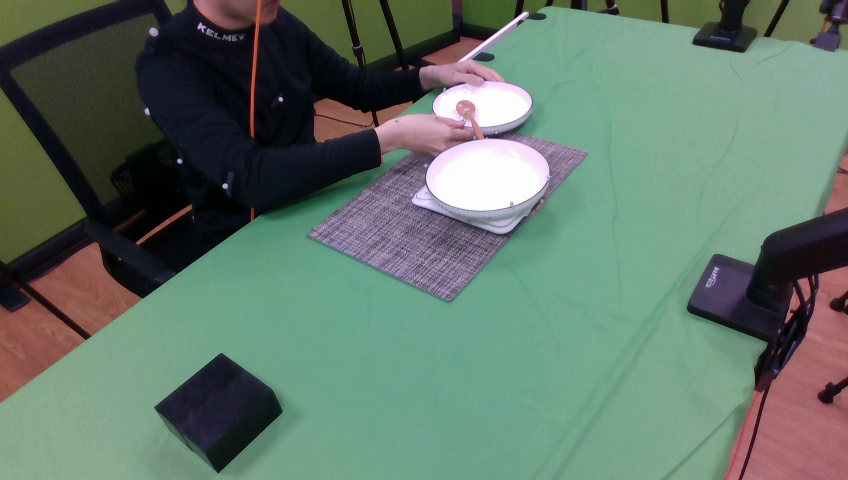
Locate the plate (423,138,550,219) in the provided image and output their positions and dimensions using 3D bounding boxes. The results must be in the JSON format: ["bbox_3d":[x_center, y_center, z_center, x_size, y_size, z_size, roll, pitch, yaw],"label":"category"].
[{"bbox_3d":[0.104,-0.099,1.005,0.207,0.039,0.206,-4,41,4],"label":"plate"}]

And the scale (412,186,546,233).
[{"bbox_3d":[0.093,-0.083,1.039,0.199,0.032,0.149,22,48,30],"label":"scale"}]

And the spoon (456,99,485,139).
[{"bbox_3d":[0.094,-0.237,1.185,0.042,0.022,0.192,-8,31,-2],"label":"spoon"}]

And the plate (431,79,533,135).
[{"bbox_3d":[0.120,-0.271,1.250,0.209,0.038,0.208,-4,39,3],"label":"plate"}]
